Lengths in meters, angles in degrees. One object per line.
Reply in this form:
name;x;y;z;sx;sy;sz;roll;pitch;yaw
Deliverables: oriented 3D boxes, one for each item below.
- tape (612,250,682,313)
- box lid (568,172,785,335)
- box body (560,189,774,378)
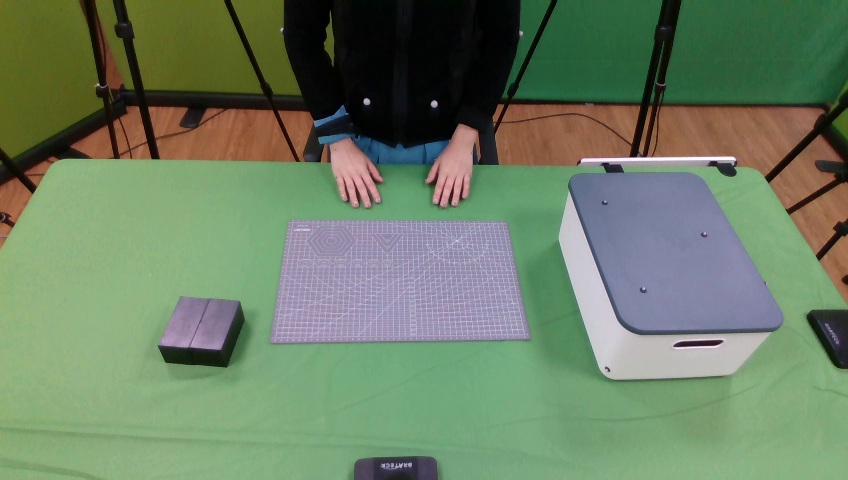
tape;0.412;0.076;1.123;0.117;0.053;0.116;4;48;-4
box lid;0.407;0.007;1.019;0.263;0.015;0.369;-1;46;-5
box body;0.405;0.057;1.074;0.254;0.161;0.361;-2;46;-5
